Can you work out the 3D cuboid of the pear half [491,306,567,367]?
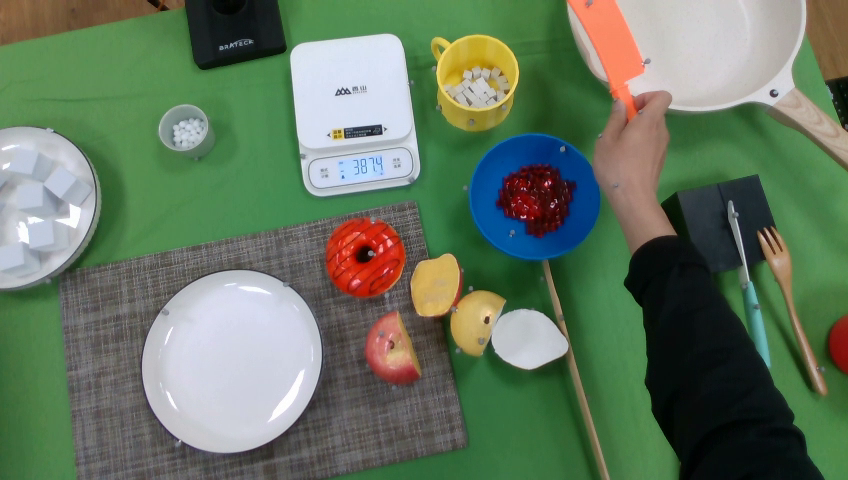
[{"bbox_3d":[0.124,0.115,0.714,0.087,0.031,0.070,11,79,19],"label":"pear half"}]

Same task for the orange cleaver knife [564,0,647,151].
[{"bbox_3d":[0.211,-0.203,0.666,0.077,0.012,0.211,-23,91,-26],"label":"orange cleaver knife"}]

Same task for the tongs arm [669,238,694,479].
[{"bbox_3d":[0.290,0.188,0.696,0.028,0.028,0.386,4,80,-4],"label":"tongs arm"}]

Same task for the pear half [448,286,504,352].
[{"bbox_3d":[0.055,0.084,0.681,0.056,0.110,0.076,20,75,6],"label":"pear half"}]

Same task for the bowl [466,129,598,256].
[{"bbox_3d":[0.123,-0.048,0.722,0.151,0.077,0.150,0,79,1],"label":"bowl"}]

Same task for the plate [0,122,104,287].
[{"bbox_3d":[-0.496,-0.043,0.749,0.208,0.039,0.206,0,79,1],"label":"plate"}]

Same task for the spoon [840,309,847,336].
[{"bbox_3d":[0.524,0.140,0.646,0.041,0.022,0.191,-17,35,-3],"label":"spoon"}]

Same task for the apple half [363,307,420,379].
[{"bbox_3d":[-0.041,0.122,0.689,0.053,0.075,0.080,-22,83,1],"label":"apple half"}]

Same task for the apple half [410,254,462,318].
[{"bbox_3d":[0.022,0.055,0.722,0.081,0.033,0.081,1,92,43],"label":"apple half"}]

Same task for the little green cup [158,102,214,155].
[{"bbox_3d":[-0.297,-0.138,0.765,0.061,0.039,0.061,0,78,1],"label":"little green cup"}]

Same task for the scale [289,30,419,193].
[{"bbox_3d":[-0.091,-0.165,0.771,0.149,0.031,0.200,-8,79,0],"label":"scale"}]

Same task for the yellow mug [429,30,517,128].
[{"bbox_3d":[0.052,-0.211,0.761,0.100,0.064,0.130,-44,80,-7],"label":"yellow mug"}]

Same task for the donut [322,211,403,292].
[{"bbox_3d":[-0.074,0.014,0.725,0.099,0.048,0.098,-1,80,3],"label":"donut"}]

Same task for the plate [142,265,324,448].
[{"bbox_3d":[-0.218,0.133,0.707,0.209,0.038,0.208,0,78,1],"label":"plate"}]

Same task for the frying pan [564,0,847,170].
[{"bbox_3d":[0.383,-0.217,0.739,0.307,0.103,0.484,-38,73,-5],"label":"frying pan"}]

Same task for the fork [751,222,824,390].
[{"bbox_3d":[0.424,0.077,0.701,0.028,0.018,0.207,-22,94,-5],"label":"fork"}]

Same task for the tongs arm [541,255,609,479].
[{"bbox_3d":[0.205,0.198,0.694,0.051,0.026,0.383,-11,80,-4],"label":"tongs arm"}]

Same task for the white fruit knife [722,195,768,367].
[{"bbox_3d":[0.368,0.049,0.699,0.016,0.027,0.207,-14,94,-1],"label":"white fruit knife"}]
